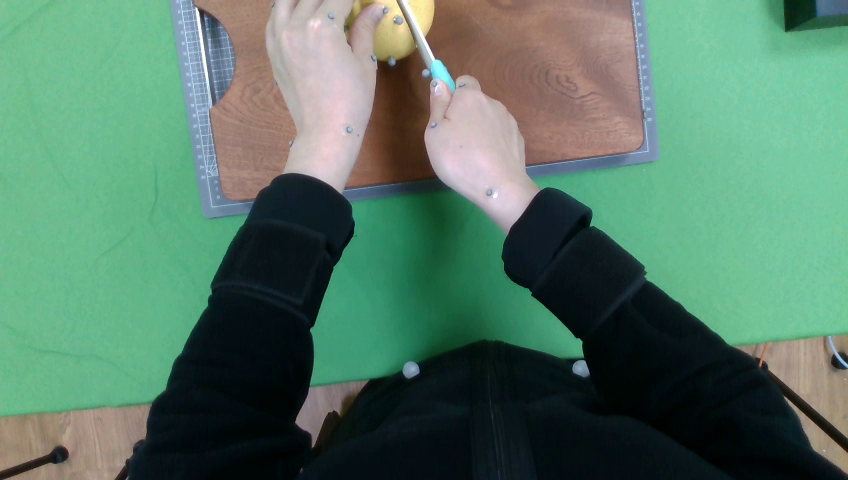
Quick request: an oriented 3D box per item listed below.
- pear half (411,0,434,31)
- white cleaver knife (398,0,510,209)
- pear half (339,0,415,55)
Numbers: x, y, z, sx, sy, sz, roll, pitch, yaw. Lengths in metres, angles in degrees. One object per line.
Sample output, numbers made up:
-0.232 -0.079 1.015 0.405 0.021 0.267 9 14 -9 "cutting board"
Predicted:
-0.009 -0.212 0.514 0.031 0.088 0.070 -32 89 -4 "pear half"
0.004 -0.158 0.508 0.021 0.066 0.286 -25 92 -1 "white cleaver knife"
-0.044 -0.192 0.505 0.056 0.110 0.076 -33 88 4 "pear half"
